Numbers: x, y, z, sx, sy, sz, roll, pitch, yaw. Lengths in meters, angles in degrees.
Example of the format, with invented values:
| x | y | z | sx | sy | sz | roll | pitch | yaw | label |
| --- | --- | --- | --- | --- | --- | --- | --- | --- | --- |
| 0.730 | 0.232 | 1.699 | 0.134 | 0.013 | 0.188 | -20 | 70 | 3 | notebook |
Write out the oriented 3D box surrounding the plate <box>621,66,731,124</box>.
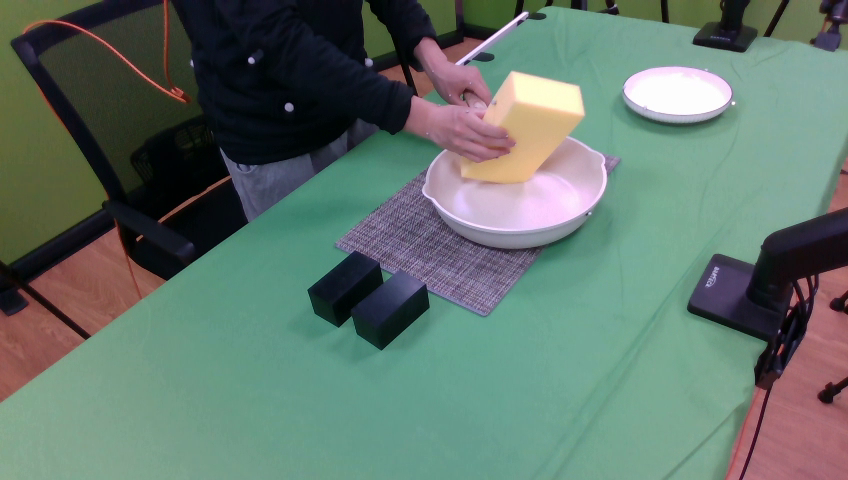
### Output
| x | y | z | sx | sy | sz | roll | pitch | yaw | label |
| --- | --- | --- | --- | --- | --- | --- | --- | --- | --- |
| 0.504 | -0.288 | 1.221 | 0.207 | 0.039 | 0.206 | -4 | 41 | 4 | plate |

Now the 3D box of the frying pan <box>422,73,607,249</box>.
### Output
| x | y | z | sx | sy | sz | roll | pitch | yaw | label |
| --- | --- | --- | --- | --- | --- | --- | --- | --- | --- |
| 0.130 | -0.161 | 1.069 | 0.307 | 0.103 | 0.484 | -10 | 49 | -5 | frying pan |

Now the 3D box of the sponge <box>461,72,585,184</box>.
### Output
| x | y | z | sx | sy | sz | roll | pitch | yaw | label |
| --- | --- | --- | --- | --- | --- | --- | --- | --- | --- |
| 0.153 | -0.173 | 0.989 | 0.119 | 0.206 | 0.060 | 7 | 61 | -19 | sponge |
